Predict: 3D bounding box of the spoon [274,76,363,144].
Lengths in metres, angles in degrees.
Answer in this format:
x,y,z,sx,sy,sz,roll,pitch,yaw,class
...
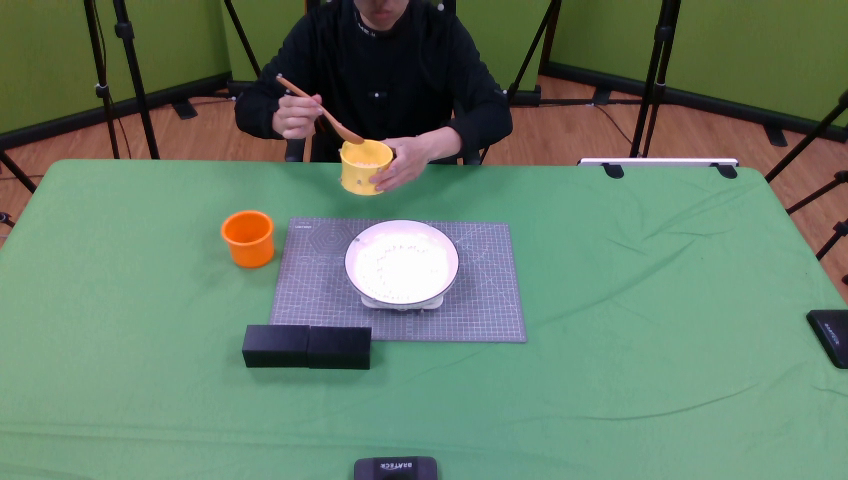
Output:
x,y,z,sx,sy,sz,roll,pitch,yaw,class
-0.193,-0.238,1.118,0.194,0.041,0.021,40,72,-16,spoon

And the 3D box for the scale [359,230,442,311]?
x,y,z,sx,sy,sz,roll,pitch,yaw,class
-0.042,0.047,1.138,0.149,0.032,0.199,2,46,-3,scale

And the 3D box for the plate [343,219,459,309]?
x,y,z,sx,sy,sz,roll,pitch,yaw,class
-0.041,0.046,1.094,0.209,0.038,0.208,2,46,-2,plate

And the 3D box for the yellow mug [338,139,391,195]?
x,y,z,sx,sy,sz,roll,pitch,yaw,class
-0.125,-0.150,1.176,0.100,0.064,0.130,-24,48,-33,yellow mug
